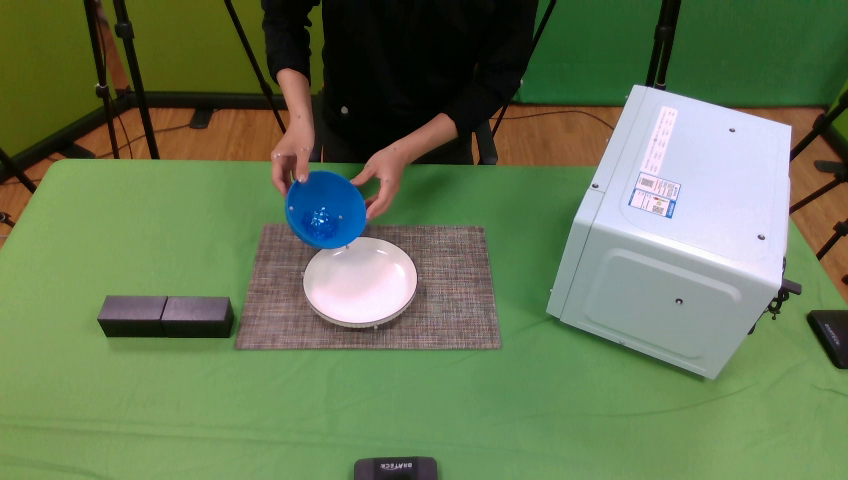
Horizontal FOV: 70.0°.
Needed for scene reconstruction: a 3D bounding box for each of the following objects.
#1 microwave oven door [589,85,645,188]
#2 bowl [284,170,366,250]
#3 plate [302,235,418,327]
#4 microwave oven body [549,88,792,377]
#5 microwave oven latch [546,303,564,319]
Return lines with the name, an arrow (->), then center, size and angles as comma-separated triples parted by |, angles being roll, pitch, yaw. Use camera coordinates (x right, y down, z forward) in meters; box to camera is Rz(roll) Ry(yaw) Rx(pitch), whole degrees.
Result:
microwave oven door -> 0.342, -0.107, 1.149 | 0.039, 0.245, 0.354 | 21, 48, 15
bowl -> -0.190, -0.044, 1.107 | 0.152, 0.077, 0.150 | 12, 65, -26
plate -> -0.114, 0.076, 1.098 | 0.208, 0.039, 0.206 | 2, 46, -2
microwave oven body -> 0.456, -0.028, 1.088 | 0.325, 0.261, 0.440 | 20, 47, 16
microwave oven latch -> 0.242, 0.102, 1.081 | 0.030, 0.029, 0.079 | 22, 48, 17
